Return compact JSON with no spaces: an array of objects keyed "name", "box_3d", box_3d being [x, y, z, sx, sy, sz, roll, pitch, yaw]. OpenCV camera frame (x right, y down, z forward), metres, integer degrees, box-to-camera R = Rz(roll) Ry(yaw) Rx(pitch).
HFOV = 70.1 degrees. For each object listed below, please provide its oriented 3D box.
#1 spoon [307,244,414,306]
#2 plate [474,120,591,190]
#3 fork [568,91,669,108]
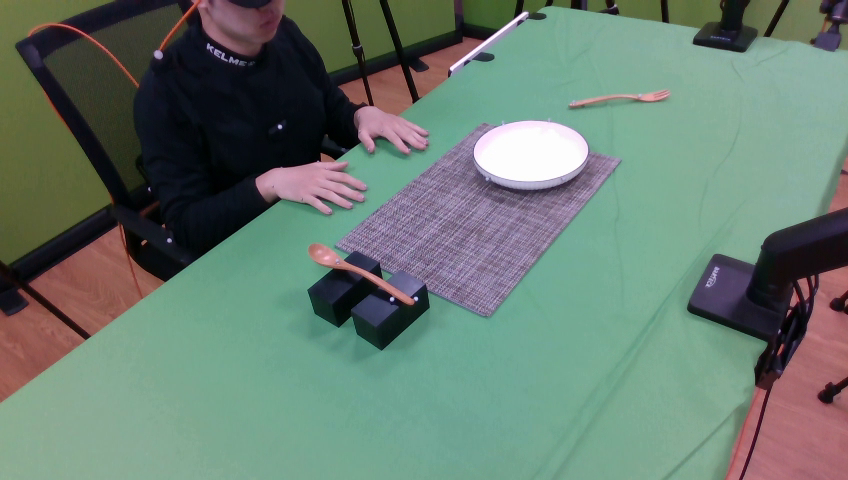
[{"name":"spoon","box_3d":[-0.091,0.048,0.848,0.192,0.021,0.042,22,26,30]},{"name":"plate","box_3d":[0.196,-0.151,1.099,0.207,0.039,0.206,-4,40,4]},{"name":"fork","box_3d":[0.402,-0.290,1.252,0.207,0.019,0.028,-4,47,1]}]
